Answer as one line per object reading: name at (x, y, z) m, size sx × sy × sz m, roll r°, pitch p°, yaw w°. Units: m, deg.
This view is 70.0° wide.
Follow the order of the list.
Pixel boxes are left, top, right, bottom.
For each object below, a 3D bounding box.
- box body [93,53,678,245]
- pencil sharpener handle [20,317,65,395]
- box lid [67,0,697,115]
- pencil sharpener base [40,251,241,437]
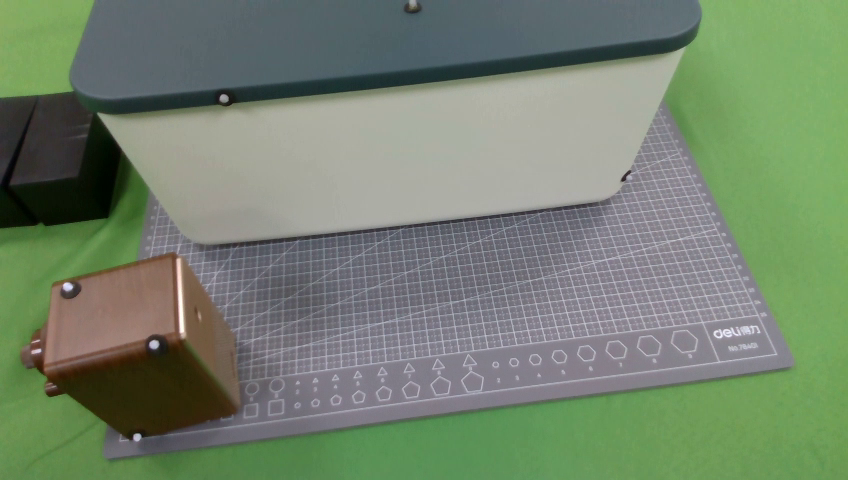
box body at (-0.029, -0.149, 0.474) m, size 0.364 × 0.162 × 0.251 m, roll -7°, pitch 55°, yaw -3°
pencil sharpener handle at (-0.212, 0.071, 0.342) m, size 0.031 × 0.068 × 0.035 m, roll -14°, pitch 58°, yaw -7°
box lid at (-0.033, -0.192, 0.413) m, size 0.372 × 0.015 × 0.260 m, roll -7°, pitch 54°, yaw -3°
pencil sharpener base at (-0.162, 0.066, 0.359) m, size 0.077 × 0.108 × 0.060 m, roll -14°, pitch 56°, yaw -7°
